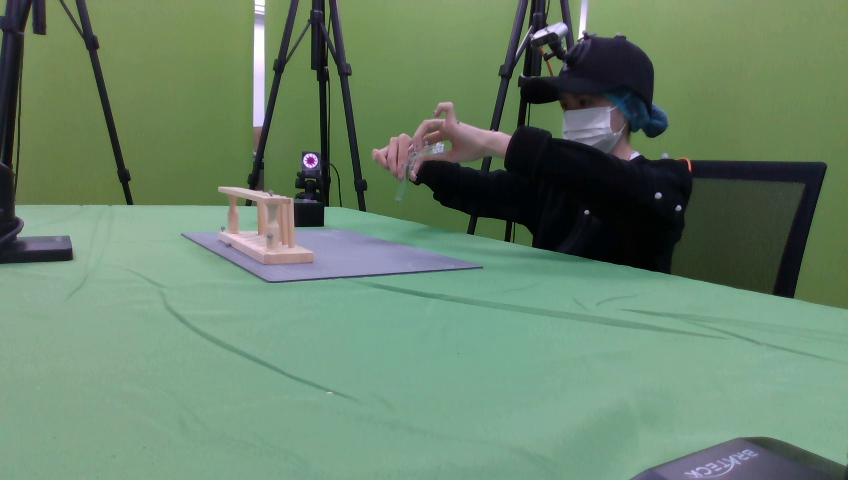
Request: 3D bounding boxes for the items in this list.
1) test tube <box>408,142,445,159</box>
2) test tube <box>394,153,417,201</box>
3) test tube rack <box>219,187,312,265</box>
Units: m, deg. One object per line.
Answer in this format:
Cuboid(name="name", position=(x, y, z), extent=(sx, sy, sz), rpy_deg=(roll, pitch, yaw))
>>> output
Cuboid(name="test tube", position=(0.002, -0.141, 0.959), extent=(0.017, 0.017, 0.150), rpy_deg=(0, 3, -18))
Cuboid(name="test tube", position=(-0.036, -0.111, 1.092), extent=(0.017, 0.017, 0.150), rpy_deg=(1, -25, -13))
Cuboid(name="test tube rack", position=(-0.235, -0.027, 0.872), extent=(0.067, 0.085, 0.241), rpy_deg=(-2, 8, -31))
